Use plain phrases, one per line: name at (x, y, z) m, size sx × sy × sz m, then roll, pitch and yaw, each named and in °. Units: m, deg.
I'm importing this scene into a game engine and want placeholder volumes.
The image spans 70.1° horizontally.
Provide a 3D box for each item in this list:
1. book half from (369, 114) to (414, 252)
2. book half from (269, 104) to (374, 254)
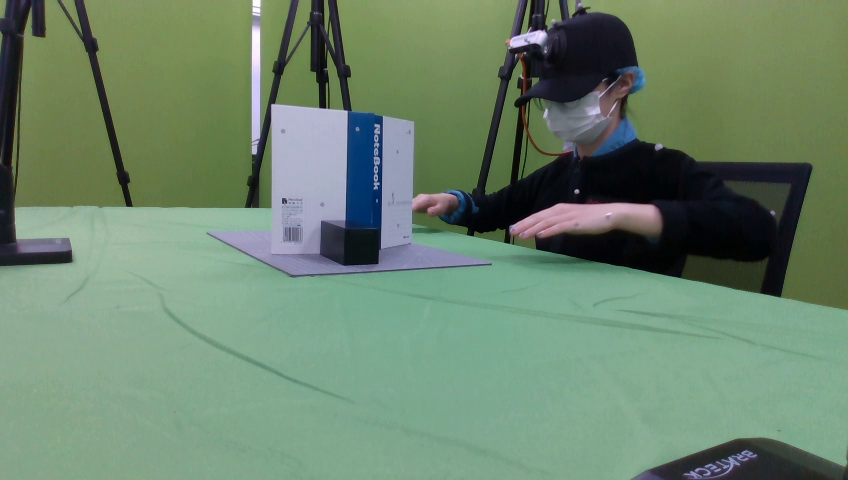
book half at (-0.053, -0.092, 0.974) m, size 0.007 × 0.210 × 0.144 m, roll 4°, pitch 7°, yaw 27°
book half at (-0.148, -0.084, 0.877) m, size 0.149 × 0.210 × 0.016 m, roll 0°, pitch 7°, yaw -22°
